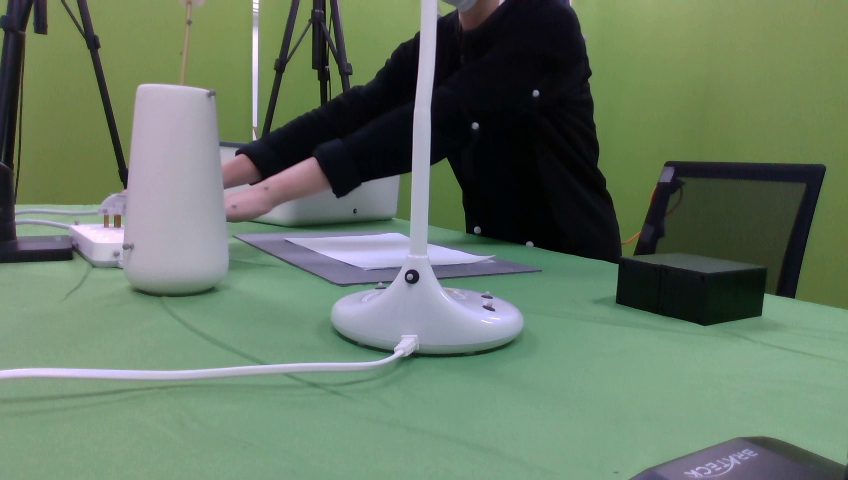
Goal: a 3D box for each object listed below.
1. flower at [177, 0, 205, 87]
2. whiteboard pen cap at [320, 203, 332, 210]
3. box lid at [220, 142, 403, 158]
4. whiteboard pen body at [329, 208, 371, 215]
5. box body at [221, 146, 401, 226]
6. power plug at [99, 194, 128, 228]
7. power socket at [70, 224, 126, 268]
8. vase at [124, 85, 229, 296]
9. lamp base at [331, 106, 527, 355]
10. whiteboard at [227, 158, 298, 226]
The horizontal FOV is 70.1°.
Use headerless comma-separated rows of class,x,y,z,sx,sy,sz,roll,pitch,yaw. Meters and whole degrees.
flower,-0.243,-0.131,0.609,0.044,0.361,0.038,-5,-12,12
whiteboard pen cap,-0.247,-0.084,1.531,0.033,0.018,0.018,9,10,39
box lid,-0.252,-0.202,1.368,0.262,0.015,0.373,9,9,36
whiteboard pen body,-0.189,-0.073,1.522,0.140,0.017,0.017,3,6,37
box body,-0.254,-0.129,1.379,0.253,0.160,0.366,8,9,36
power plug,-0.416,-0.038,0.850,0.073,0.052,0.035,2,-4,-26
power socket,-0.409,0.004,0.792,0.072,0.032,0.225,-2,8,-37
vase,-0.244,-0.047,0.598,0.098,0.200,0.098,3,8,0
lamp base,0.006,-0.012,0.478,0.161,0.180,0.179,2,10,2
whiteboard,-0.265,-0.116,1.372,0.216,0.143,0.307,4,7,35
